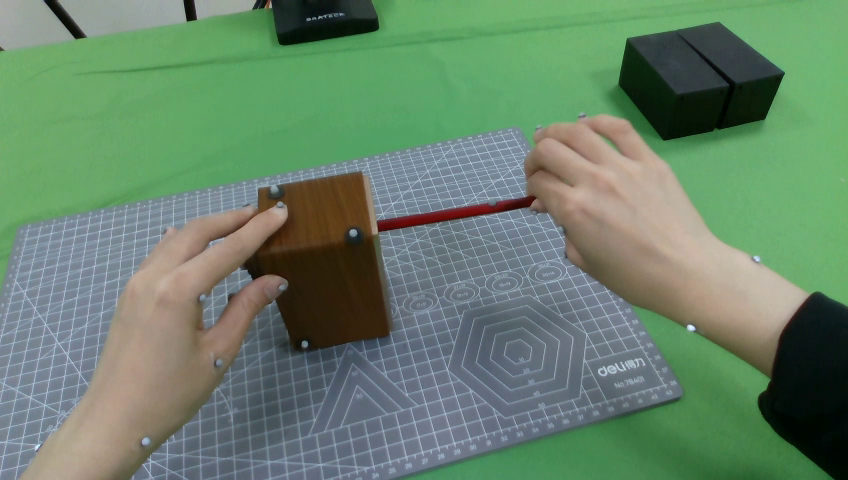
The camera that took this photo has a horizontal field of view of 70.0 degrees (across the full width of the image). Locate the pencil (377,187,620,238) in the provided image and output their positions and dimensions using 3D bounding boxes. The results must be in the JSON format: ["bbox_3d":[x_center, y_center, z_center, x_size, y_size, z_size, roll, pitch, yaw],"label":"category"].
[{"bbox_3d":[0.034,-0.015,0.391,0.194,0.012,0.012,-9,46,-6],"label":"pencil"}]

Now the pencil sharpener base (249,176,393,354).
[{"bbox_3d":[-0.065,0.020,0.400,0.077,0.108,0.060,-10,47,-5],"label":"pencil sharpener base"}]

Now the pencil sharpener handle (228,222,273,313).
[{"bbox_3d":[-0.116,0.021,0.385,0.031,0.068,0.035,-10,41,-5],"label":"pencil sharpener handle"}]
